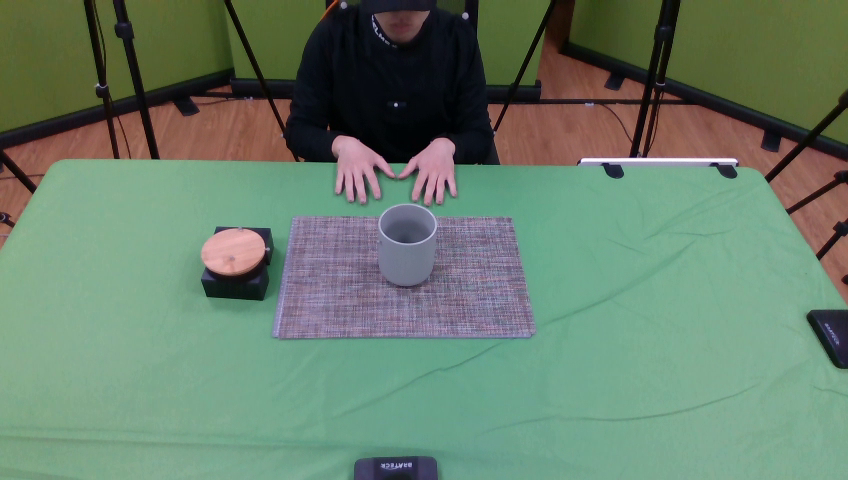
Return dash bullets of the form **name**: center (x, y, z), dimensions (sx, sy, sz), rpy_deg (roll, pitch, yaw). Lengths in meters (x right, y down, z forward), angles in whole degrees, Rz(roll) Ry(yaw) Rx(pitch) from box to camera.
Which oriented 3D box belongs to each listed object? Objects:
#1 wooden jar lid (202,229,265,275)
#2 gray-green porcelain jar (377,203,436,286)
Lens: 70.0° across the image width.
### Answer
- **wooden jar lid**: center (-0.340, 0.023, 1.084), dimensions (0.108, 0.021, 0.107), rpy_deg (3, 45, -2)
- **gray-green porcelain jar**: center (-0.033, 0.014, 1.106), dimensions (0.106, 0.127, 0.105), rpy_deg (2, 46, -2)
